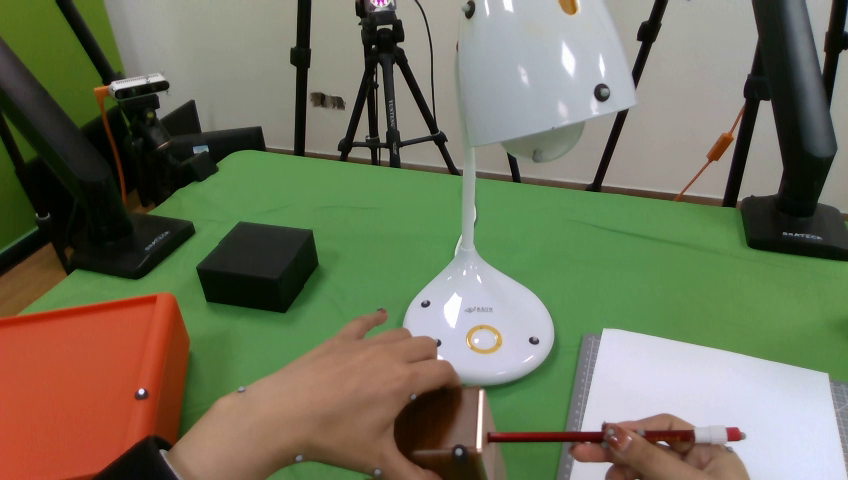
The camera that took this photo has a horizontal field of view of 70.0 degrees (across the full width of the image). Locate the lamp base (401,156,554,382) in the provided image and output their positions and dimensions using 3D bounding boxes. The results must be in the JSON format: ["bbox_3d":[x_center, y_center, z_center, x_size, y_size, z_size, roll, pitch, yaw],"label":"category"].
[{"bbox_3d":[0.051,0.019,0.608,0.161,0.182,0.177,-9,32,-9],"label":"lamp base"}]

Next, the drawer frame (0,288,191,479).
[{"bbox_3d":[-0.320,0.149,0.523,0.202,0.083,0.211,-10,34,-10],"label":"drawer frame"}]

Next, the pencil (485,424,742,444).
[{"bbox_3d":[0.111,0.134,0.412,0.194,0.012,0.012,-5,33,11],"label":"pencil"}]

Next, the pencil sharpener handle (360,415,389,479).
[{"bbox_3d":[-0.038,0.162,0.453,0.030,0.068,0.035,-8,29,13],"label":"pencil sharpener handle"}]

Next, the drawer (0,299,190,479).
[{"bbox_3d":[-0.317,0.150,0.521,0.195,0.074,0.209,-9,35,-9],"label":"drawer"}]

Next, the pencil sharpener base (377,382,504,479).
[{"bbox_3d":[0.014,0.164,0.451,0.076,0.108,0.061,-8,36,13],"label":"pencil sharpener base"}]

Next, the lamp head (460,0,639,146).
[{"bbox_3d":[0.070,-0.130,0.393,0.112,0.123,0.112,-16,5,2],"label":"lamp head"}]

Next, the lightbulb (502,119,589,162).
[{"bbox_3d":[0.075,-0.105,0.391,0.059,0.108,0.059,-5,10,1],"label":"lightbulb"}]
